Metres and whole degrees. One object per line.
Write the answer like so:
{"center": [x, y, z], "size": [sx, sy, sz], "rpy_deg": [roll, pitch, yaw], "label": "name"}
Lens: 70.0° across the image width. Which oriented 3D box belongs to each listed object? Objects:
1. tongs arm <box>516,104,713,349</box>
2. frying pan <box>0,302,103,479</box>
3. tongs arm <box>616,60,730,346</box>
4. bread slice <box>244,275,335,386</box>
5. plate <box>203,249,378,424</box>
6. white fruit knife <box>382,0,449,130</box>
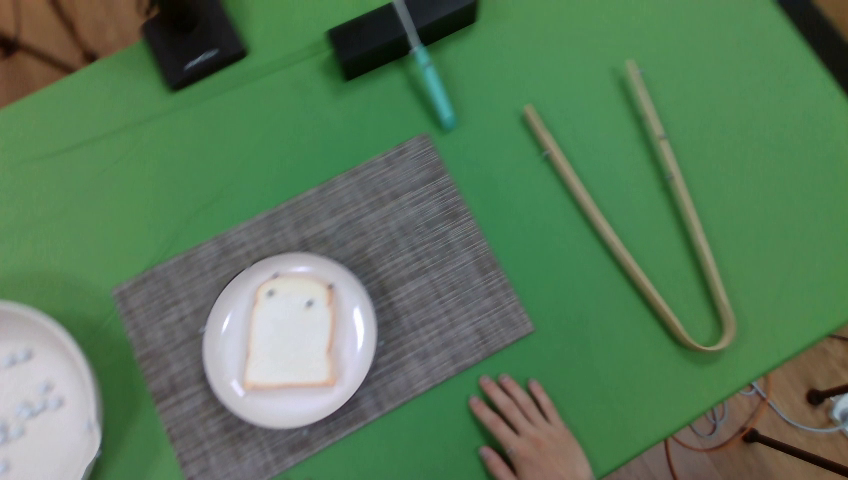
{"center": [0.231, -0.021, 0.770], "size": [0.028, 0.028, 0.385], "rpy_deg": [-31, 78, -9], "label": "tongs arm"}
{"center": [-0.517, 0.315, 0.660], "size": [0.307, 0.103, 0.484], "rpy_deg": [4, 68, 3], "label": "frying pan"}
{"center": [0.304, -0.054, 0.773], "size": [0.051, 0.026, 0.382], "rpy_deg": [-20, 78, -3], "label": "tongs arm"}
{"center": [-0.164, 0.110, 0.736], "size": [0.107, 0.018, 0.133], "rpy_deg": [-4, 78, -1], "label": "bread slice"}
{"center": [-0.158, 0.115, 0.734], "size": [0.208, 0.039, 0.206], "rpy_deg": [0, 76, 1], "label": "plate"}
{"center": [-0.017, -0.243, 0.801], "size": [0.016, 0.027, 0.207], "rpy_deg": [-27, 91, -6], "label": "white fruit knife"}
